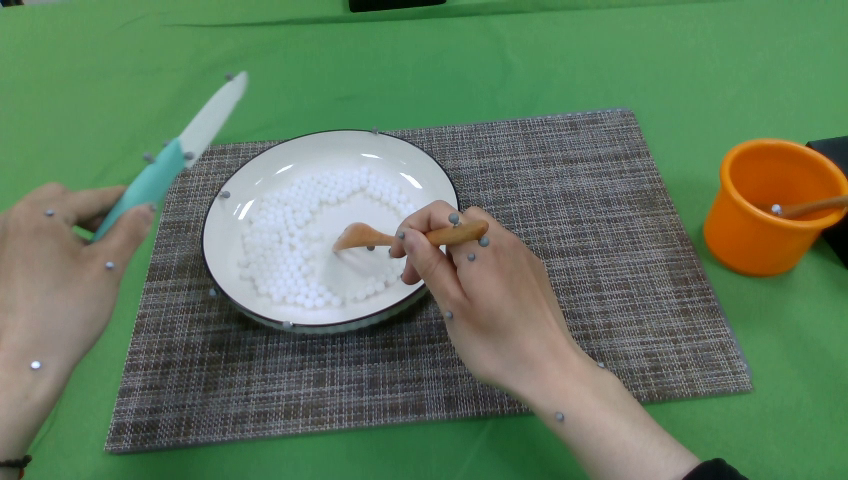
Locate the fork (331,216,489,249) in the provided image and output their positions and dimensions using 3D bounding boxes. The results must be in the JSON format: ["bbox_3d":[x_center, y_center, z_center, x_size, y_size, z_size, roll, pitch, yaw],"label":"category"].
[{"bbox_3d":[-0.020,-0.005,0.414,0.206,0.019,0.028,0,50,57],"label":"fork"}]

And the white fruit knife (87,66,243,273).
[{"bbox_3d":[-0.185,-0.065,0.449,0.016,0.028,0.206,-1,49,27],"label":"white fruit knife"}]

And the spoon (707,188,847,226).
[{"bbox_3d":[0.292,-0.028,0.430,0.041,0.193,0.022,-35,102,-25],"label":"spoon"}]

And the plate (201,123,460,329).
[{"bbox_3d":[-0.073,-0.014,0.501,0.209,0.038,0.207,-1,52,2],"label":"plate"}]
